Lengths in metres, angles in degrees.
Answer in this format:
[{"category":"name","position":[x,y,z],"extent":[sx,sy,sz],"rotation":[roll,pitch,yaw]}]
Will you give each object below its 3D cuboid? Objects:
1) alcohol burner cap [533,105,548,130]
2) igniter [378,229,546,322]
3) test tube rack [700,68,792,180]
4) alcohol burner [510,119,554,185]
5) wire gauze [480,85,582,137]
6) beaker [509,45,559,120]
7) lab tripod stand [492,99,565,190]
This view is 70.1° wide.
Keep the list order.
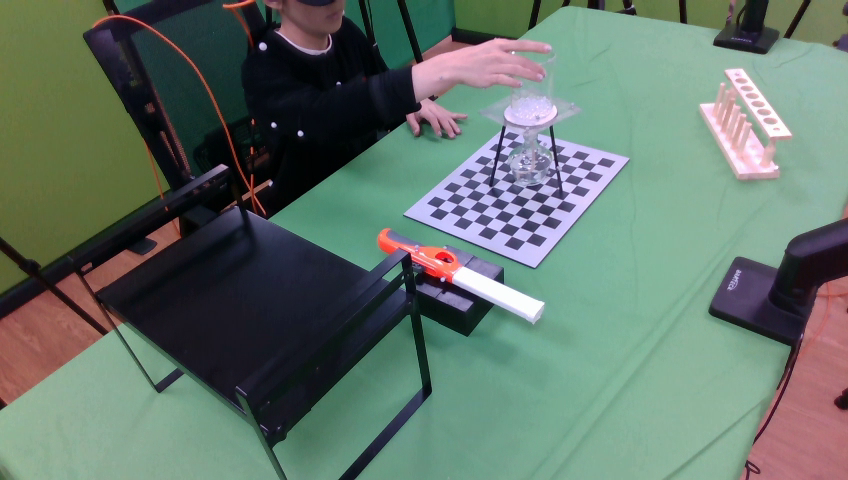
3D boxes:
[{"category":"alcohol burner cap","position":[0.235,-0.251,1.217],"extent":[0.034,0.048,0.033],"rotation":[-5,41,5]},{"category":"igniter","position":[0.041,0.043,0.844],"extent":[0.274,0.025,0.057],"rotation":[24,46,29]},{"category":"test tube rack","position":[0.572,-0.215,1.090],"extent":[0.066,0.085,0.241],"rotation":[-3,41,7]},{"category":"alcohol burner","position":[0.188,-0.157,1.054],"extent":[0.078,0.119,0.077],"rotation":[-4,39,4]},{"category":"wire gauze","position":[0.177,-0.215,1.007],"extent":[0.125,0.011,0.120],"rotation":[-31,44,-19]},{"category":"beaker","position":[0.174,-0.253,0.977],"extent":[0.074,0.101,0.083],"rotation":[-37,47,-29]},{"category":"lab tripod stand","position":[0.184,-0.163,1.046],"extent":[0.148,0.132,0.147],"rotation":[-5,43,5]}]
